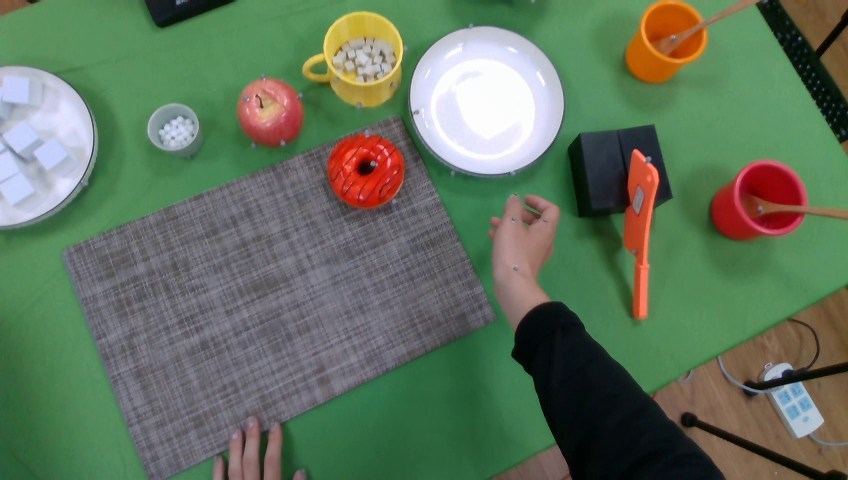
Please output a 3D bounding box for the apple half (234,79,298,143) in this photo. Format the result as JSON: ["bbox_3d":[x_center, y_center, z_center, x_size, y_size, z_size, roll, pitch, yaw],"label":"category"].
[{"bbox_3d":[-0.204,-0.152,0.757,0.081,0.074,0.053,39,83,0],"label":"apple half"}]

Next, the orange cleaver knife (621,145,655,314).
[{"bbox_3d":[0.264,-0.011,0.762,0.012,0.076,0.212,-5,111,-4],"label":"orange cleaver knife"}]

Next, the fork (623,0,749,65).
[{"bbox_3d":[0.361,-0.286,0.792,0.207,0.019,0.028,-24,75,35],"label":"fork"}]

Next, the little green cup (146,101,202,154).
[{"bbox_3d":[-0.312,-0.139,0.763,0.061,0.039,0.061,1,79,-4],"label":"little green cup"}]

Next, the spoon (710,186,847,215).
[{"bbox_3d":[0.460,-0.043,0.756,0.192,0.022,0.041,10,67,43],"label":"spoon"}]

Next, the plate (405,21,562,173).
[{"bbox_3d":[0.078,-0.187,0.806,0.209,0.038,0.208,1,79,-4],"label":"plate"}]

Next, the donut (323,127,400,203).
[{"bbox_3d":[-0.079,-0.095,0.767,0.099,0.048,0.098,1,80,-3],"label":"donut"}]

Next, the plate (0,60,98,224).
[{"bbox_3d":[-0.504,-0.118,0.741,0.208,0.039,0.206,1,79,-5],"label":"plate"}]

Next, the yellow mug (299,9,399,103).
[{"bbox_3d":[-0.097,-0.234,0.786,0.131,0.064,0.099,-14,80,-6],"label":"yellow mug"}]

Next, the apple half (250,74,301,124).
[{"bbox_3d":[-0.180,-0.182,0.764,0.081,0.081,0.033,38,82,4],"label":"apple half"}]
